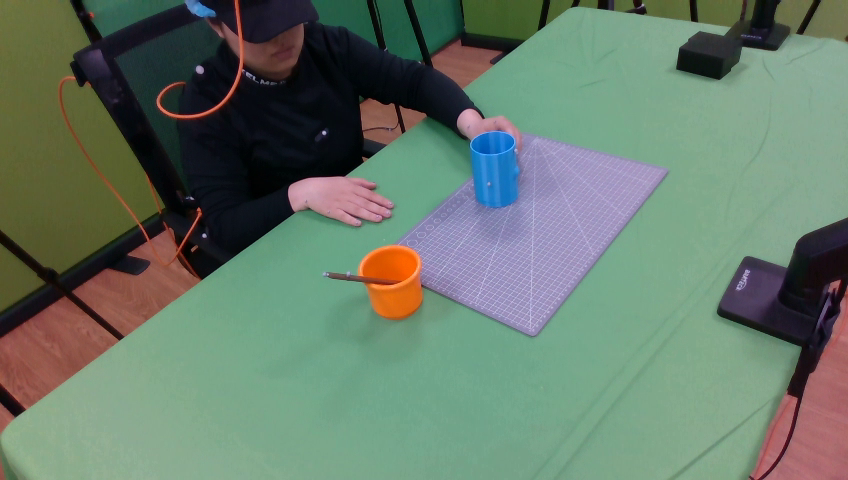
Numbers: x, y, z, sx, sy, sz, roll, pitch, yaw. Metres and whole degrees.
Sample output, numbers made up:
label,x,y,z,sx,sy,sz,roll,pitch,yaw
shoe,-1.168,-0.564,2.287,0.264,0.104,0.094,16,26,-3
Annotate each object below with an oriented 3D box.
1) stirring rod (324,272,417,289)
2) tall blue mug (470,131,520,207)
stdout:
label,x,y,z,sx,sy,sz,roll,pitch,yaw
stirring rod,-0.069,0.057,0.840,0.014,0.006,0.178,26,9,39
tall blue mug,0.121,-0.131,1.044,0.078,0.108,0.106,-10,40,2
